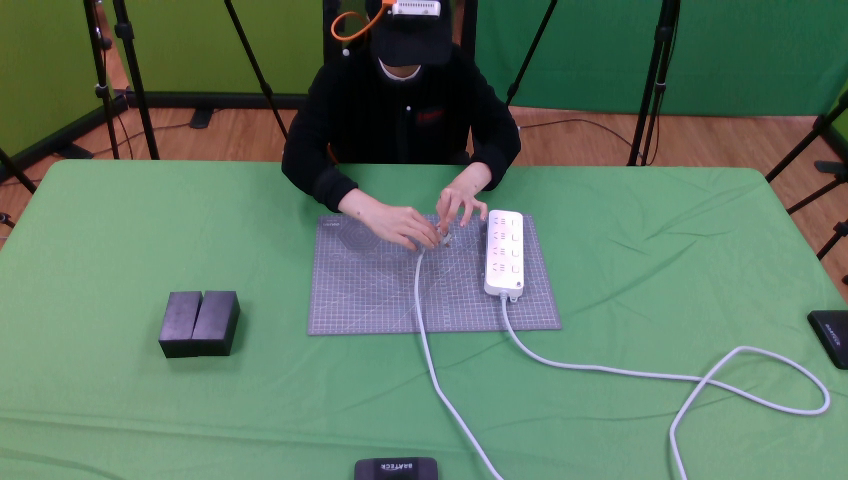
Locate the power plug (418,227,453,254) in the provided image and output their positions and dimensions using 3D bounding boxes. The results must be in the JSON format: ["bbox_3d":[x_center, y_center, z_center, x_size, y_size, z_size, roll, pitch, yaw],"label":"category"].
[{"bbox_3d":[0.021,0.005,1.125,0.072,0.053,0.035,-44,35,2],"label":"power plug"}]

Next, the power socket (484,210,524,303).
[{"bbox_3d":[0.157,0.023,1.175,0.072,0.033,0.225,6,46,3],"label":"power socket"}]
